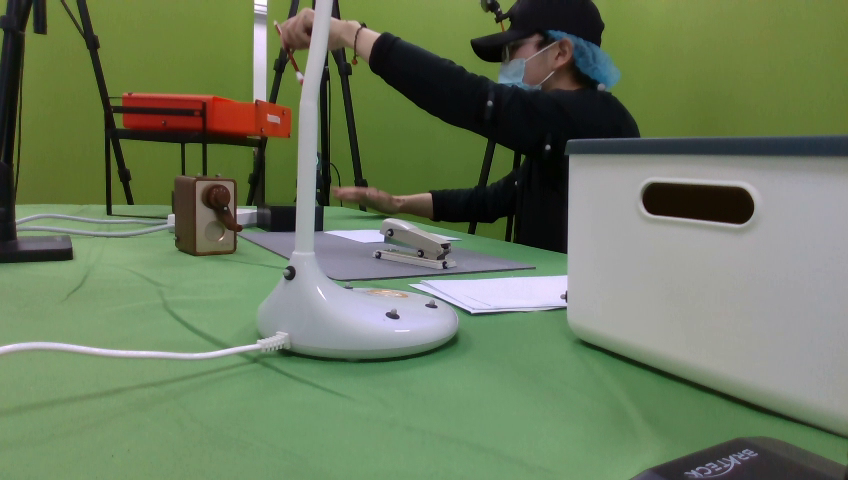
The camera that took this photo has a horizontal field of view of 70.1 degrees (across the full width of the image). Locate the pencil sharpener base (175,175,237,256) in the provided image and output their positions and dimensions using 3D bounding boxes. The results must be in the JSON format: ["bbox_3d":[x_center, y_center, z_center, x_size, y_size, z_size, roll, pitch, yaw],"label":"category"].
[{"bbox_3d":[-0.304,-0.036,0.847,0.062,0.107,0.076,-4,10,-42],"label":"pencil sharpener base"}]

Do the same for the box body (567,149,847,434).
[{"bbox_3d":[0.318,0.009,0.471,0.366,0.160,0.253,-2,8,-31],"label":"box body"}]

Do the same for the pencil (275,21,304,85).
[{"bbox_3d":[-0.266,-0.370,1.184,0.012,0.012,0.193,-3,54,-35],"label":"pencil"}]

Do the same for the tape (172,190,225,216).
[{"bbox_3d":[-0.516,-0.086,1.389,0.117,0.052,0.117,4,7,0],"label":"tape"}]

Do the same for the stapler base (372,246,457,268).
[{"bbox_3d":[-0.016,0.017,0.831,0.130,0.024,0.041,10,12,39],"label":"stapler base"}]

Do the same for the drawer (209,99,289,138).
[{"bbox_3d":[-0.432,-0.273,1.364,0.211,0.073,0.195,3,8,9],"label":"drawer"}]

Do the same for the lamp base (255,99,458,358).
[{"bbox_3d":[-0.056,-0.013,0.462,0.160,0.180,0.180,6,11,27],"label":"lamp base"}]

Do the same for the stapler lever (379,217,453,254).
[{"bbox_3d":[-0.013,-0.007,0.828,0.117,0.040,0.027,9,11,39],"label":"stapler lever"}]

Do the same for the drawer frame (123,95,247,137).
[{"bbox_3d":[-0.524,-0.280,1.376,0.213,0.082,0.202,3,8,8],"label":"drawer frame"}]

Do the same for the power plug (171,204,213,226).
[{"bbox_3d":[-0.455,-0.041,1.196,0.052,0.035,0.072,2,45,23],"label":"power plug"}]

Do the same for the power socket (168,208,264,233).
[{"bbox_3d":[-0.381,-0.038,1.129,0.072,0.032,0.227,4,8,17],"label":"power socket"}]

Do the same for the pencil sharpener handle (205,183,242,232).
[{"bbox_3d":[-0.265,-0.043,0.812,0.036,0.068,0.030,-31,27,-35],"label":"pencil sharpener handle"}]

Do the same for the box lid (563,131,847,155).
[{"bbox_3d":[0.322,-0.064,0.463,0.373,0.015,0.262,-2,9,-31],"label":"box lid"}]
